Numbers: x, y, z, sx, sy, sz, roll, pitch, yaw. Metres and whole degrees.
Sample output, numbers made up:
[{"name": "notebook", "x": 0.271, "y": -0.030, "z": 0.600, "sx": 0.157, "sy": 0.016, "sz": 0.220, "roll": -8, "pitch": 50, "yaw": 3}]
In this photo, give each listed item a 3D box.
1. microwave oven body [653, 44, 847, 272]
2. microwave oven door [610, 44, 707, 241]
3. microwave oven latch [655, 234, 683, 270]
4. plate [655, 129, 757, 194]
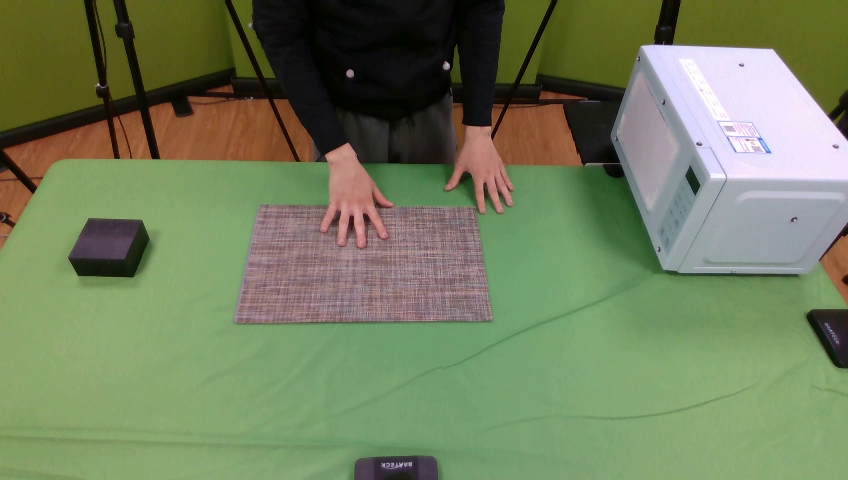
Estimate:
[{"name": "microwave oven body", "x": 0.620, "y": -0.172, "z": 1.234, "sx": 0.326, "sy": 0.261, "sz": 0.439, "roll": 0, "pitch": 46, "yaw": -3}, {"name": "microwave oven door", "x": 0.474, "y": -0.208, "z": 1.250, "sx": 0.039, "sy": 0.245, "sz": 0.353, "roll": 0, "pitch": 47, "yaw": -3}, {"name": "microwave oven latch", "x": 0.473, "y": 0.021, "z": 1.175, "sx": 0.030, "sy": 0.029, "sz": 0.078, "roll": 2, "pitch": 46, "yaw": -1}, {"name": "plate", "x": 0.600, "y": -0.165, "z": 1.305, "sx": 0.209, "sy": 0.038, "sz": 0.208, "roll": 1, "pitch": 46, "yaw": -1}]
